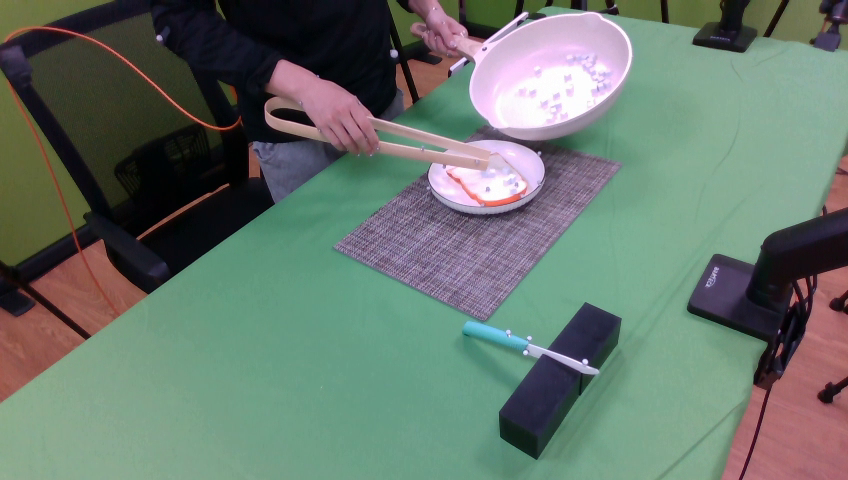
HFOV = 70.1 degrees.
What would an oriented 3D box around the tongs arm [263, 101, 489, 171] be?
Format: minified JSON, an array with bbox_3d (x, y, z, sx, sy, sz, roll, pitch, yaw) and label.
[{"bbox_3d":[-0.079,-0.174,1.016,0.386,0.026,0.050,9,55,-7],"label":"tongs arm"}]

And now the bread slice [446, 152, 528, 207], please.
[{"bbox_3d":[0.118,-0.104,1.057,0.107,0.018,0.133,-24,41,-17],"label":"bread slice"}]

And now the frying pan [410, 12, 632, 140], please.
[{"bbox_3d":[0.156,-0.342,1.159,0.484,0.103,0.307,33,73,29],"label":"frying pan"}]

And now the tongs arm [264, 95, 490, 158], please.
[{"bbox_3d":[-0.076,-0.190,1.028,0.388,0.028,0.028,13,58,-4],"label":"tongs arm"}]

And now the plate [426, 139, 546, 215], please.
[{"bbox_3d":[0.109,-0.106,1.058,0.207,0.039,0.206,-4,40,4],"label":"plate"}]

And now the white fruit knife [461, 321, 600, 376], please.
[{"bbox_3d":[0.126,0.133,0.752,0.205,0.027,0.016,13,45,42],"label":"white fruit knife"}]
